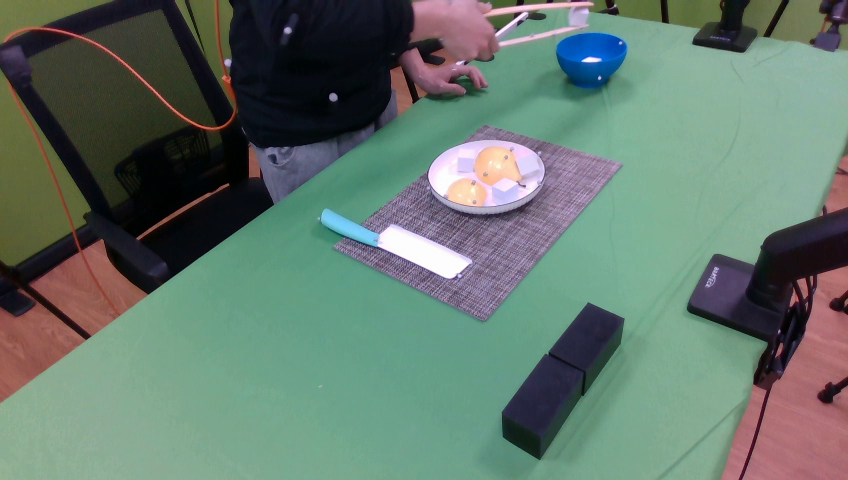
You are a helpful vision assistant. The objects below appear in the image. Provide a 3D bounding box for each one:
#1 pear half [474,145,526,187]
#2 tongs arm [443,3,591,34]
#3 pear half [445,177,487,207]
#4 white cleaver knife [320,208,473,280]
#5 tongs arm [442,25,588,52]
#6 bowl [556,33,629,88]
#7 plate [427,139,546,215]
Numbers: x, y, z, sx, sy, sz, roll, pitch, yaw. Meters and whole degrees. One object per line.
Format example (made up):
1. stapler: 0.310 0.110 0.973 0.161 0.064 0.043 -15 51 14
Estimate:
1. pear half: 0.140 -0.129 1.059 0.076 0.056 0.109 -37 53 -25
2. tongs arm: 0.186 -0.418 1.121 0.390 0.028 0.027 -22 43 -35
3. pear half: 0.073 -0.086 1.032 0.070 0.031 0.087 -20 37 -10
4. white cleaver knife: -0.053 0.001 0.978 0.284 0.021 0.066 23 40 26
5. tongs arm: 0.185 -0.394 1.135 0.387 0.051 0.026 -25 41 -33
6. bowl: 0.362 -0.385 1.318 0.151 0.077 0.150 -4 41 4
7. plate: 0.109 -0.106 1.058 0.207 0.039 0.206 -4 40 4
